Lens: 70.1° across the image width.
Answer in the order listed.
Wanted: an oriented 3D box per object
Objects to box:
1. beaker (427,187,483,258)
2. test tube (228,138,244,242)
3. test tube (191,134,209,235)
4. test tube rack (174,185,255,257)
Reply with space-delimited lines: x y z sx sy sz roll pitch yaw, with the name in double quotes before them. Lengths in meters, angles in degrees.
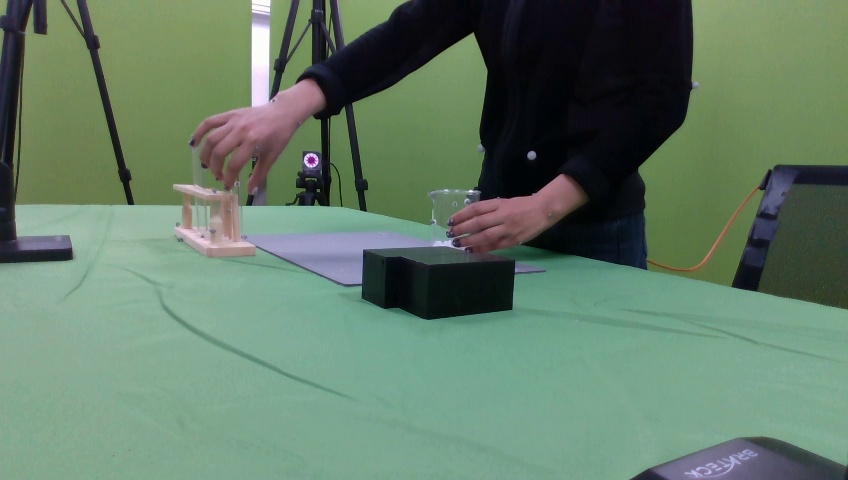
"beaker" 0.044 -0.026 0.894 0.084 0.100 0.073 -1 7 -17
"test tube" -0.270 -0.071 0.867 0.017 0.150 0.017 0 8 0
"test tube" -0.332 -0.082 0.897 0.017 0.150 0.017 -2 6 0
"test tube rack" -0.324 -0.035 0.922 0.067 0.085 0.241 -2 9 -31
